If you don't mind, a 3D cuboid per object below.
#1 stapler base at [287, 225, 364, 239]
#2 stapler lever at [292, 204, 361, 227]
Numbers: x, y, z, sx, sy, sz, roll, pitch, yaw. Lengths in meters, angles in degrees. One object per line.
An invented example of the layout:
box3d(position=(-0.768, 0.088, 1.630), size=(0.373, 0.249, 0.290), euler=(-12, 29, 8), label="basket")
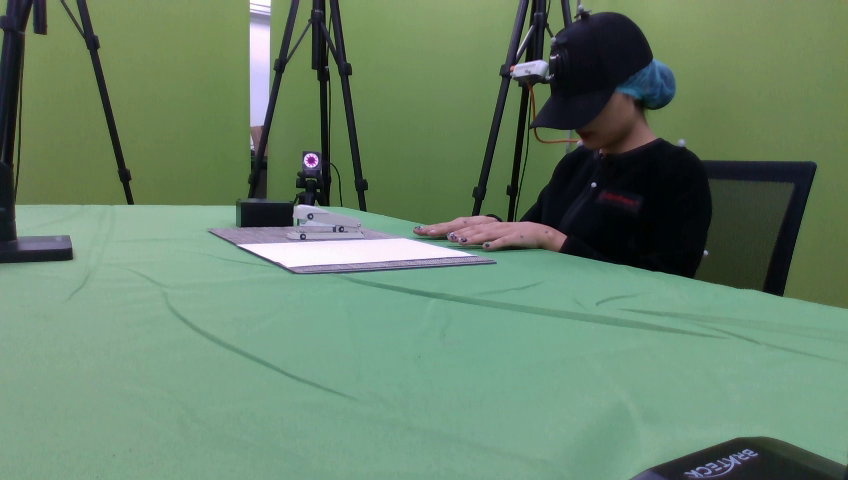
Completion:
box3d(position=(-0.169, -0.016, 1.039), size=(0.131, 0.024, 0.041), euler=(0, 11, -29), label="stapler base")
box3d(position=(-0.166, -0.041, 1.037), size=(0.119, 0.040, 0.026), euler=(-1, 11, -28), label="stapler lever")
